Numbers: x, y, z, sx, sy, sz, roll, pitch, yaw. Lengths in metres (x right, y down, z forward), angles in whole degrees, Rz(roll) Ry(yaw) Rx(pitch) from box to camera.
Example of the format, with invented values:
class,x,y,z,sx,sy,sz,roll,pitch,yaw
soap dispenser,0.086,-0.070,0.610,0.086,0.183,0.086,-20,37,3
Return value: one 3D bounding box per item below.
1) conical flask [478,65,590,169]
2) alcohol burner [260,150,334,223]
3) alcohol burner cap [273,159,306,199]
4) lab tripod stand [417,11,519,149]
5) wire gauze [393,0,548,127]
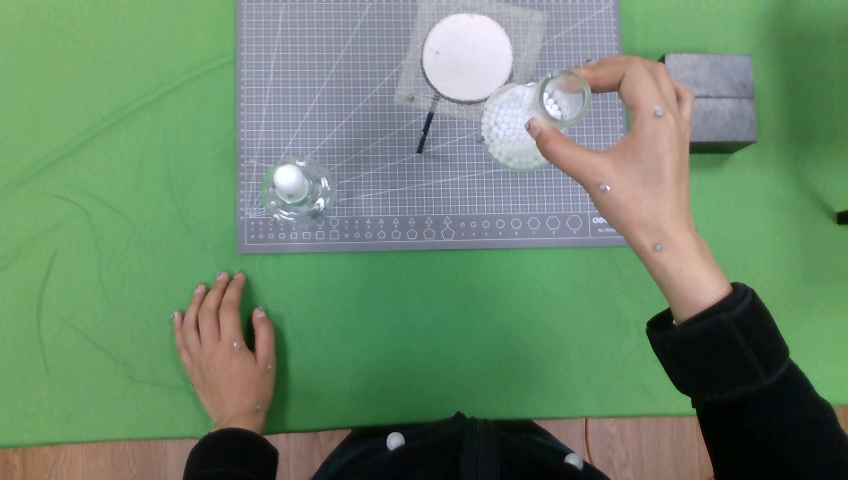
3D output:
class,x,y,z,sx,sy,sz,roll,pitch,yaw
conical flask,0.087,-0.097,0.458,0.075,0.121,0.075,0,90,-6
alcohol burner,-0.134,-0.058,0.627,0.078,0.119,0.077,0,85,-2
alcohol burner cap,-0.133,-0.062,0.592,0.034,0.048,0.033,1,80,-6
lab tripod stand,0.037,-0.171,0.638,0.148,0.132,0.148,0,84,0
wire gauze,0.045,-0.177,0.571,0.121,0.011,0.125,16,83,-1
